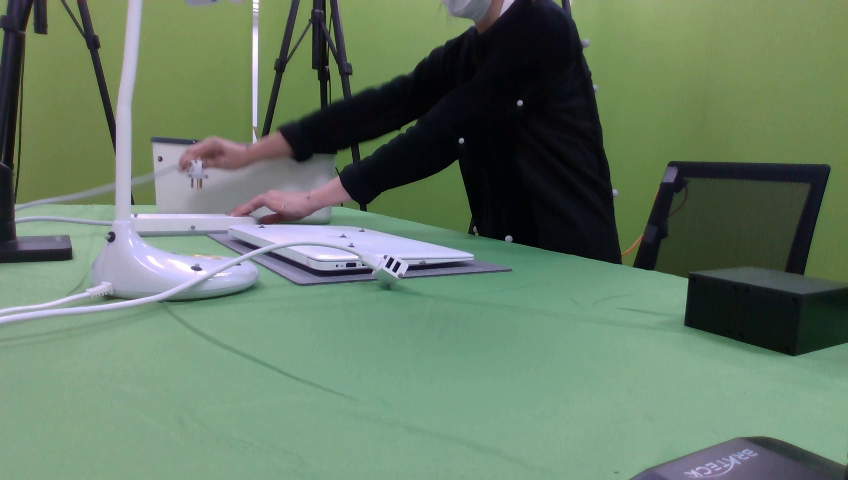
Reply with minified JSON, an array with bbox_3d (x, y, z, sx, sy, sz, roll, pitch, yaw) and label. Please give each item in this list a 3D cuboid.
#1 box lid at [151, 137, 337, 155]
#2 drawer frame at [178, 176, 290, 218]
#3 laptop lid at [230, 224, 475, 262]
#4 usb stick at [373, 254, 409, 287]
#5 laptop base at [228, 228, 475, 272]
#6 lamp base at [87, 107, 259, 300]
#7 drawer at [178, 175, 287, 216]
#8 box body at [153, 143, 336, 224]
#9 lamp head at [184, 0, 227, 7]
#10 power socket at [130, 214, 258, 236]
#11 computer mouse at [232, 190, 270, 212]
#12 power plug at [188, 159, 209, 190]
[{"bbox_3d":[-0.379,-0.203,1.334,0.372,0.015,0.262,2,7,-9],"label":"box lid"},{"bbox_3d":[-0.409,-0.099,1.340,0.214,0.082,0.201,-4,7,-10],"label":"drawer frame"},{"bbox_3d":[-0.119,0.000,0.888,0.243,0.013,0.355,1,7,-33],"label":"laptop lid"},{"bbox_3d":[-0.038,0.035,0.663,0.027,0.021,0.059,28,-21,-7],"label":"usb stick"},{"bbox_3d":[-0.122,0.011,0.889,0.237,0.023,0.352,2,6,-35],"label":"laptop base"},{"bbox_3d":[-0.254,-0.039,0.603,0.160,0.180,0.179,5,10,18],"label":"lamp base"},{"bbox_3d":[-0.414,-0.103,1.341,0.212,0.073,0.194,5,6,-11],"label":"drawer"},{"bbox_3d":[-0.380,-0.130,1.344,0.365,0.160,0.253,1,7,-9],"label":"box body"},{"bbox_3d":[-0.229,-0.320,0.627,0.112,0.112,0.123,6,-36,26],"label":"lamp head"},{"bbox_3d":[-0.399,-0.028,1.049,0.228,0.032,0.072,-3,8,-34],"label":"power socket"},{"bbox_3d":[-0.382,-0.086,1.342,0.063,0.041,0.117,10,10,-4],"label":"computer mouse"},{"bbox_3d":[-0.401,-0.117,1.078,0.035,0.052,0.072,3,8,-17],"label":"power plug"}]
